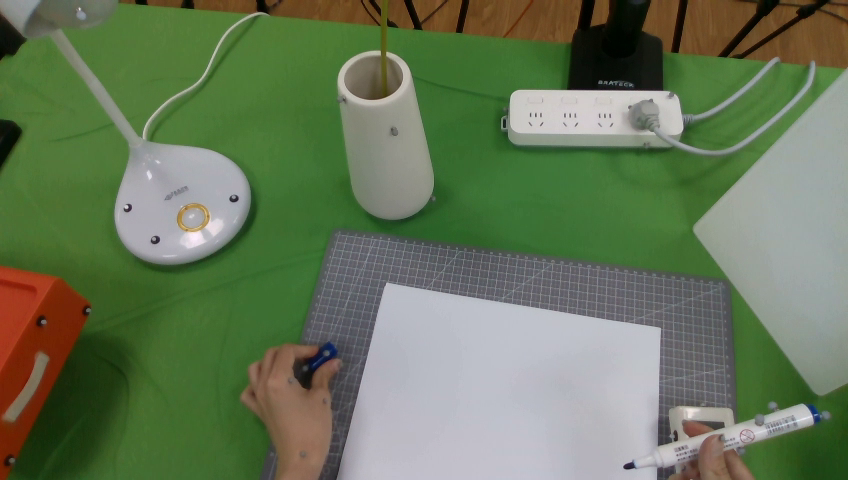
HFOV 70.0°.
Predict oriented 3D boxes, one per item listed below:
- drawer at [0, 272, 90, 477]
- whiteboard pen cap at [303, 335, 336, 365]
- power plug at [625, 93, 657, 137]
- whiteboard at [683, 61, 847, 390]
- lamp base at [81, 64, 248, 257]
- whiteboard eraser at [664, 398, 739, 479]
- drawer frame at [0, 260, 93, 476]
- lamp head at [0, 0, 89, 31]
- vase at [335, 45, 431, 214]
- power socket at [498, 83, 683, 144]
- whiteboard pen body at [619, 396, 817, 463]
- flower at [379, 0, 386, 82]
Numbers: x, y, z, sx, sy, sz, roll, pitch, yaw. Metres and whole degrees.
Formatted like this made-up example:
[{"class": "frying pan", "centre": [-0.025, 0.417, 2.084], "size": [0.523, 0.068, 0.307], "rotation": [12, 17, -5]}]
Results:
[{"class": "drawer", "centre": [-0.465, 0.110, 0.571], "size": [0.211, 0.074, 0.193], "rotation": [10, 64, 8]}, {"class": "whiteboard pen cap", "centre": [-0.109, 0.113, 0.629], "size": [0.033, 0.018, 0.018], "rotation": [-41, 67, -18]}, {"class": "power plug", "centre": [0.256, -0.142, 0.721], "size": [0.035, 0.053, 0.072], "rotation": [12, 65, 9]}, {"class": "whiteboard", "centre": [0.441, -0.033, 0.562], "size": [0.144, 0.307, 0.215], "rotation": [-12, 60, -25]}, {"class": "lamp base", "centre": [-0.305, -0.095, 0.665], "size": [0.178, 0.182, 0.160], "rotation": [39, 70, 23]}, {"class": "whiteboard eraser", "centre": [0.256, 0.204, 0.557], "size": [0.055, 0.042, 0.112], "rotation": [3, 62, 3]}, {"class": "drawer frame", "centre": [-0.471, 0.111, 0.573], "size": [0.213, 0.083, 0.200], "rotation": [11, 64, 6]}, {"class": "lamp head", "centre": [-0.271, -0.220, 0.402], "size": [0.124, 0.112, 0.112], "rotation": [46, 68, -18]}, {"class": "vase", "centre": [-0.045, -0.112, 0.651], "size": [0.098, 0.201, 0.097], "rotation": [-2, 61, 4]}, {"class": "power socket", "centre": [0.208, -0.159, 0.758], "size": [0.226, 0.033, 0.071], "rotation": [2, 63, 4]}, {"class": "whiteboard pen body", "centre": [0.209, 0.138, 0.435], "size": [0.141, 0.017, 0.017], "rotation": [-19, 62, 5]}, {"class": "flower", "centre": [-0.040, -0.165, 0.586], "size": [0.038, 0.365, 0.043], "rotation": [-4, 44, -7]}]
